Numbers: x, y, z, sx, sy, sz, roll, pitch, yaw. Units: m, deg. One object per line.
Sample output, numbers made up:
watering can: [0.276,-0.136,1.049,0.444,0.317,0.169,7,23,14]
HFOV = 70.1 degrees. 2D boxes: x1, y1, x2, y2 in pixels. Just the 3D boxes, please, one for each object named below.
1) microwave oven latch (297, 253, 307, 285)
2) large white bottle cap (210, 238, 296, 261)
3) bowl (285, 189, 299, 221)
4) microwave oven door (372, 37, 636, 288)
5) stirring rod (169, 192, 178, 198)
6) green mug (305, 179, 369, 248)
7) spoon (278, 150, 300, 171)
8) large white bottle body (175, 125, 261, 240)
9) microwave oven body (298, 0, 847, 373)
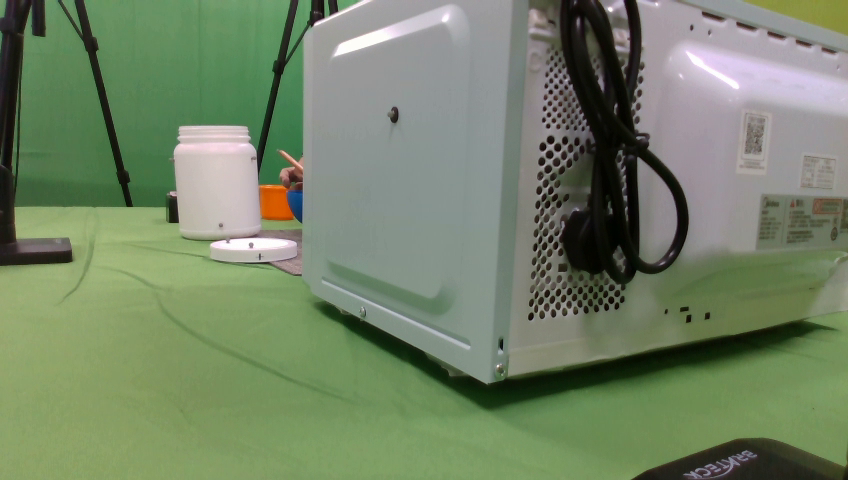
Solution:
microwave oven latch: [-0.082,0.027,0.582,0.079,0.029,0.030,-1,7,-32]
large white bottle cap: [-0.236,0.012,0.839,0.115,0.018,0.115,1,7,0]
bowl: [-0.179,-0.051,1.112,0.151,0.077,0.151,3,8,0]
microwave oven door: [0.109,-0.080,0.686,0.358,0.243,0.039,-2,9,-33]
stirring rod: [-0.465,-0.098,1.283,0.014,0.006,0.177,42,21,17]
green mug: [-0.133,-0.045,0.977,0.092,0.105,0.126,6,8,32]
spoon: [-0.210,-0.109,1.126,0.193,0.021,0.042,47,27,18]
large white bottle body: [-0.349,-0.100,1.025,0.131,0.184,0.130,-1,9,0]
microwave oven body: [0.151,-0.055,0.542,0.444,0.260,0.324,-2,7,-33]
